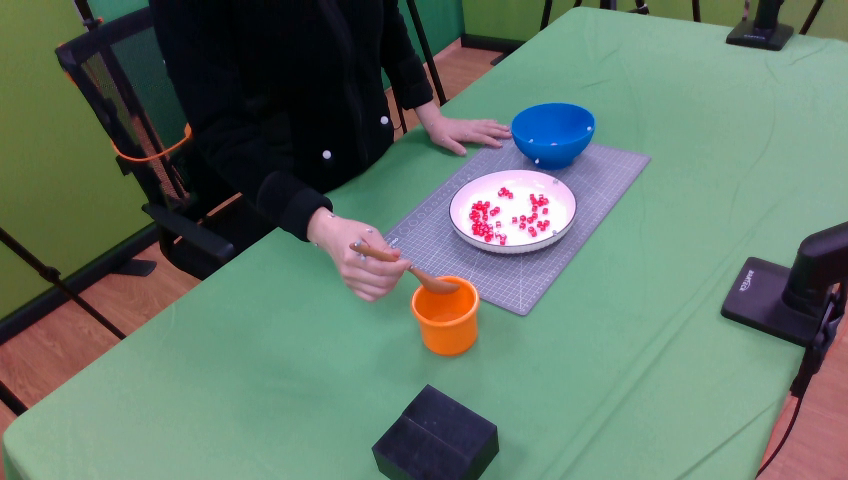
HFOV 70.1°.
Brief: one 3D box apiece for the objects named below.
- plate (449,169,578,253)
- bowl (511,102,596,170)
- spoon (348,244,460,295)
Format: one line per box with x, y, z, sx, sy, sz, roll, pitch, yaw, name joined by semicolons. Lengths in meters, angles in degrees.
0.146;-0.044;0.994;0.209;0.038;0.208;-5;40;5;plate
0.237;-0.181;1.107;0.151;0.077;0.150;-6;40;5;bowl
-0.021;0.037;0.737;0.041;0.195;0.021;-14;59;38;spoon
